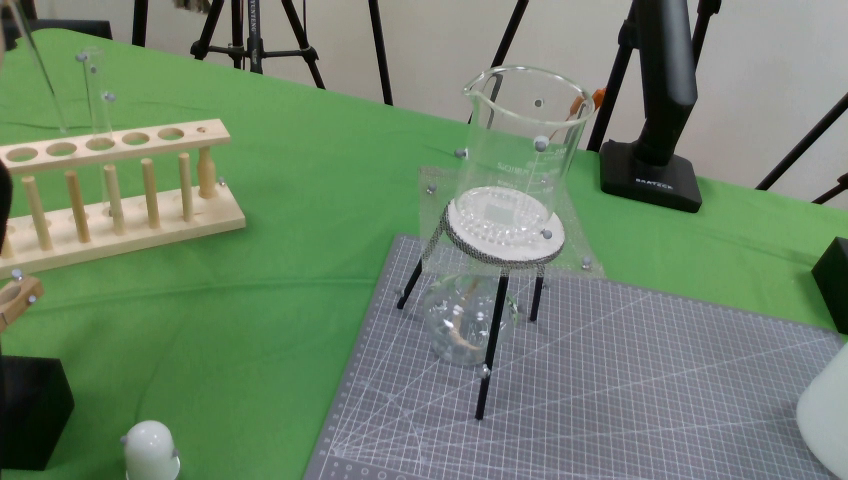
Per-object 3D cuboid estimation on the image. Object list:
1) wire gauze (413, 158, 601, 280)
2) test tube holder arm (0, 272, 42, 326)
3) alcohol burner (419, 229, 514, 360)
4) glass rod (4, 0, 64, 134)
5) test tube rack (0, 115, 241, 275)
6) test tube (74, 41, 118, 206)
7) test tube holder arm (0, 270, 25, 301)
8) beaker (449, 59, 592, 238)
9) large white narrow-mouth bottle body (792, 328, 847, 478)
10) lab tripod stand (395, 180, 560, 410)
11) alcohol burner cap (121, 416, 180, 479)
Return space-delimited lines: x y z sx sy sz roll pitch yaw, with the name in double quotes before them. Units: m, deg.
"wire gauze" 0.053 -0.017 0.432 0.122 0.011 0.124 3 44 -7
"test tube holder arm" -0.283 0.054 0.392 0.010 0.015 0.087 15 38 5
"alcohol burner" 0.037 0.038 0.480 0.078 0.120 0.077 8 38 -6
"glass rod" -0.285 -0.156 0.419 0.008 0.201 0.008 4 46 -4
"test tube rack" -0.291 -0.040 0.527 0.243 0.086 0.066 -15 46 -28
"test tube" -0.277 -0.093 0.516 0.017 0.151 0.017 8 35 -5
"test tube holder arm" -0.298 0.079 0.357 0.013 0.015 0.177 14 38 4
"beaker" 0.056 -0.058 0.404 0.084 0.101 0.073 9 41 -3
"large white narrow-mouth bottle body" 0.357 0.087 0.431 0.102 0.196 0.101 6 39 -4
"lab tripod stand" 0.047 0.034 0.472 0.149 0.132 0.147 8 40 -6
"alcohol burner cap" -0.173 0.132 0.380 0.034 0.048 0.033 7 39 -6
